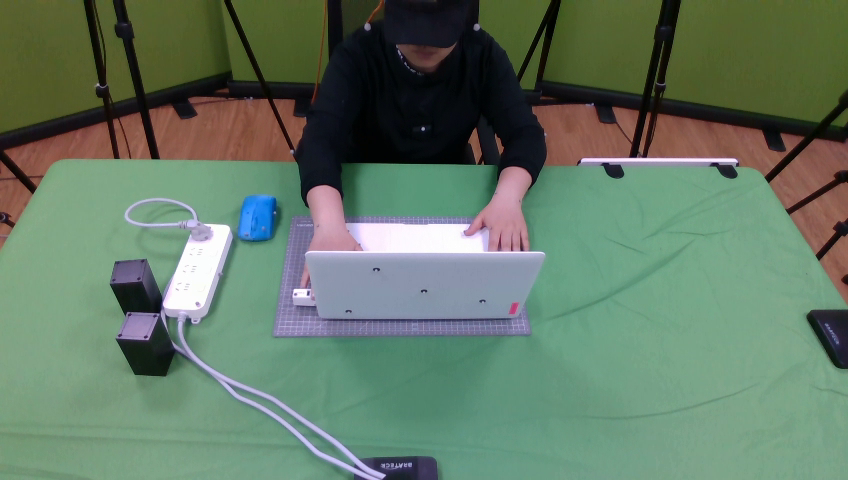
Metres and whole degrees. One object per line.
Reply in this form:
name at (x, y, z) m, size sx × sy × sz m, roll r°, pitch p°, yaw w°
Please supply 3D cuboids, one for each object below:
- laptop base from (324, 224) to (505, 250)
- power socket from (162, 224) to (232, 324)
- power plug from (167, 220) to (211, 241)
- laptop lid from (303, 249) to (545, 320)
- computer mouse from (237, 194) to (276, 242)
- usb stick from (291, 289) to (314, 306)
laptop base at (-0.014, 0.055, 1.144) m, size 0.355 × 0.023 × 0.234 m, roll 0°, pitch 42°, yaw -4°
power socket at (-0.410, 0.052, 1.106) m, size 0.072 × 0.033 × 0.225 m, roll 4°, pitch 45°, yaw -1°
power plug at (-0.438, -0.017, 1.143) m, size 0.072 × 0.053 × 0.035 m, roll 10°, pitch 43°, yaw 7°
laptop lid at (-0.003, 0.077, 0.962) m, size 0.357 × 0.242 × 0.013 m, roll 1°, pitch 58°, yaw -5°
computer mouse at (-0.334, -0.047, 1.206) m, size 0.063 × 0.041 × 0.116 m, roll 3°, pitch 51°, yaw -5°
usb stick at (-0.203, 0.102, 1.068) m, size 0.059 × 0.027 × 0.021 m, roll 3°, pitch 44°, yaw -7°
